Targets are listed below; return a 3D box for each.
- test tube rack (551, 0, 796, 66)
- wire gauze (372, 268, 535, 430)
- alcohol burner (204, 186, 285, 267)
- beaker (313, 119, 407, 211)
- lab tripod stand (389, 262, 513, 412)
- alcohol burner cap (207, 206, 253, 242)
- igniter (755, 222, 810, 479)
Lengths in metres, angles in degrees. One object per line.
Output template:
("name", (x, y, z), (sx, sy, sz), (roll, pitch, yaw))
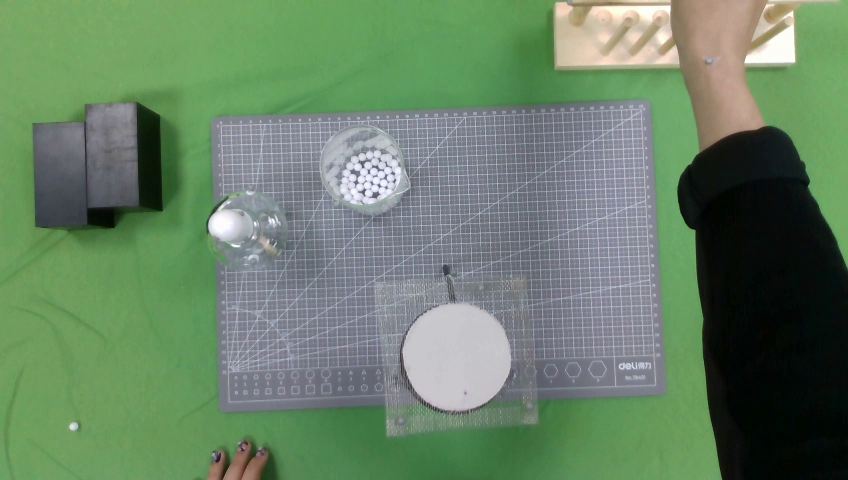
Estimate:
("test tube rack", (0.252, -0.217, 0.586), (0.242, 0.085, 0.066), (-1, 87, 0))
("wire gauze", (0.024, 0.086, 0.484), (0.125, 0.011, 0.121), (-4, 87, 0))
("alcohol burner", (-0.172, -0.014, 0.563), (0.078, 0.119, 0.078), (0, 86, 1))
("beaker", (-0.054, -0.064, 0.572), (0.084, 0.100, 0.074), (22, 89, 0))
("lab tripod stand", (0.022, 0.092, 0.551), (0.148, 0.131, 0.148), (0, 87, 2))
("alcohol burner cap", (-0.171, -0.015, 0.528), (0.034, 0.048, 0.034), (0, 90, -3))
("igniter", (0.358, 0.120, 0.605), (0.057, 0.025, 0.276), (2, 89, -10))
